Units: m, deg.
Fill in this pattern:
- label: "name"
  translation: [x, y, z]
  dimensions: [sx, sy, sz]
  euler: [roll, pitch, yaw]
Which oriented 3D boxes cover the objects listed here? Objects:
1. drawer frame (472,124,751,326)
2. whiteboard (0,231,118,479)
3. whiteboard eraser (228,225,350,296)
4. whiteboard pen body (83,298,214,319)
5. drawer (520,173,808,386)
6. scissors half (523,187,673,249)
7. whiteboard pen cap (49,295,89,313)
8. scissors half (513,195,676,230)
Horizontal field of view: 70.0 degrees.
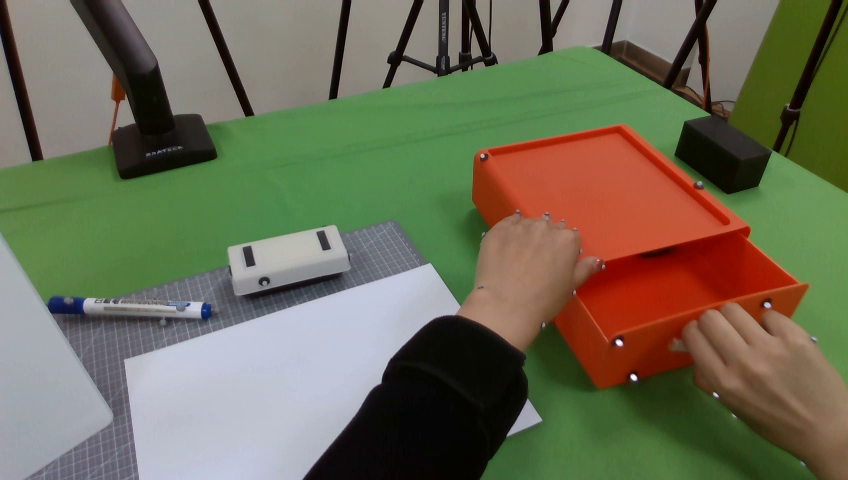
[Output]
- label: "drawer frame"
  translation: [0.181, -0.027, 0.639]
  dimensions: [0.202, 0.083, 0.211]
  euler: [-13, 41, -15]
- label: "whiteboard"
  translation: [-0.401, 0.052, 0.409]
  dimensions: [0.217, 0.308, 0.142]
  euler: [-34, 31, -33]
- label: "whiteboard eraser"
  translation: [-0.135, 0.022, 0.605]
  dimensions: [0.113, 0.042, 0.055]
  euler: [-14, 40, -16]
- label: "whiteboard pen body"
  translation: [-0.270, 0.064, 0.569]
  dimensions: [0.141, 0.017, 0.017]
  euler: [2, 39, -2]
- label: "drawer"
  translation: [0.205, 0.020, 0.583]
  dimensions: [0.195, 0.074, 0.209]
  euler: [-12, 41, -14]
- label: "scissors half"
  translation: [0.190, -0.017, 0.677]
  dimensions: [0.175, 0.040, 0.012]
  euler: [-19, 38, 28]
- label: "whiteboard pen cap"
  translation: [-0.330, 0.060, 0.567]
  dimensions: [0.033, 0.018, 0.018]
  euler: [2, 39, -5]
- label: "scissors half"
  translation: [0.185, -0.026, 0.670]
  dimensions: [0.175, 0.040, 0.012]
  euler: [-5, 37, 17]
